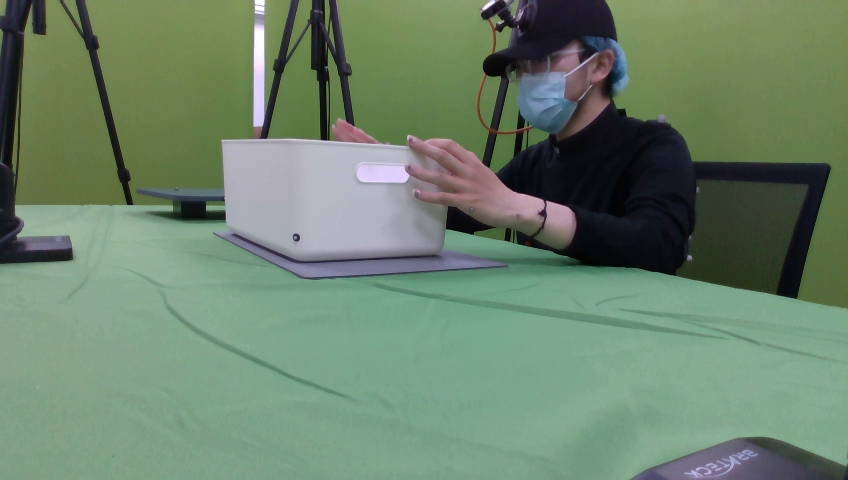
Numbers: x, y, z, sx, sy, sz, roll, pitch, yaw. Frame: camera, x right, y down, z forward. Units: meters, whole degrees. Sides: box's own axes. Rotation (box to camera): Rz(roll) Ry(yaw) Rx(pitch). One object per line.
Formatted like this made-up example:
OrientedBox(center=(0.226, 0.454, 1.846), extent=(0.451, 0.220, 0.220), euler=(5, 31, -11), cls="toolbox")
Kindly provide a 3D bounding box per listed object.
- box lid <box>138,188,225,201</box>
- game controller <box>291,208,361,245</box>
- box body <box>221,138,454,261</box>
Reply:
OrientedBox(center=(-0.433, -0.105, 1.395), extent=(0.373, 0.015, 0.262), euler=(-5, 10, -44), cls="box lid")
OrientedBox(center=(-0.161, -0.023, 0.967), extent=(0.097, 0.051, 0.154), euler=(-5, 9, -15), cls="game controller")
OrientedBox(center=(-0.152, -0.073, 0.963), extent=(0.255, 0.160, 0.362), euler=(-2, 9, -33), cls="box body")
